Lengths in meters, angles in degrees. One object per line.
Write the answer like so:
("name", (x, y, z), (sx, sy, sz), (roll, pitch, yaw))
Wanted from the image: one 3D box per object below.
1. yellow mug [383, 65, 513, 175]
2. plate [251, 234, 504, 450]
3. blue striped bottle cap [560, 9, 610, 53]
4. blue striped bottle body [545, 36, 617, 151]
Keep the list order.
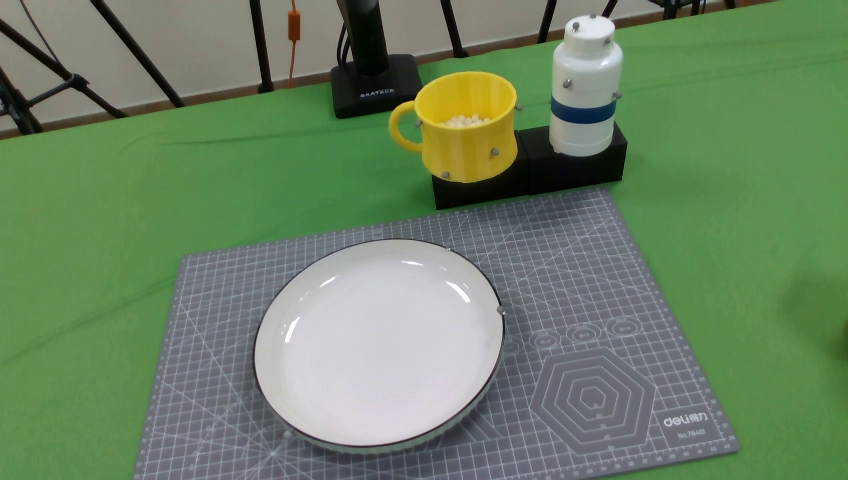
("yellow mug", (0.023, -0.120, 0.606), (0.130, 0.064, 0.099), (0, 46, 10))
("plate", (-0.036, 0.080, 0.506), (0.207, 0.039, 0.205), (-4, 46, 4))
("blue striped bottle cap", (0.144, -0.187, 0.541), (0.044, 0.021, 0.044), (-6, 46, 7))
("blue striped bottle body", (0.149, -0.151, 0.578), (0.063, 0.122, 0.062), (-4, 46, 5))
